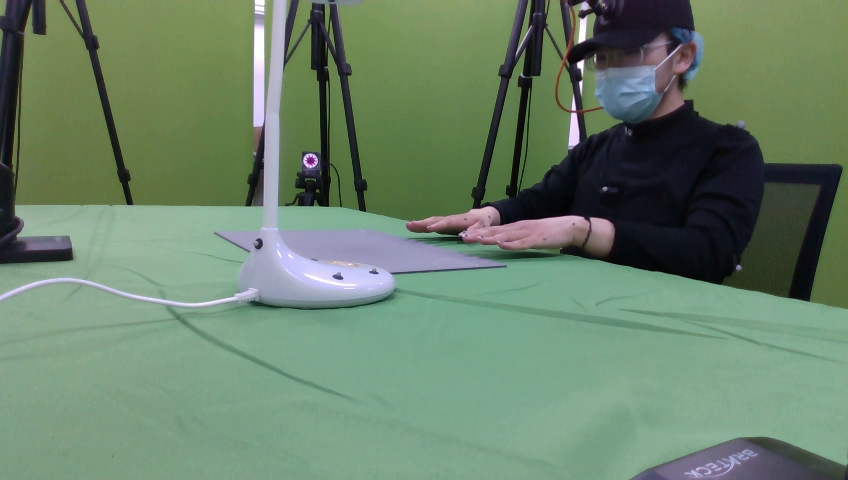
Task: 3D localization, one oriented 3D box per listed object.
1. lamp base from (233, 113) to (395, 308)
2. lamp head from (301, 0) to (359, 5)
[{"bbox_3d":[-0.113,-0.033,0.600,0.160,0.180,0.180,6,11,28],"label":"lamp base"},{"bbox_3d":[-0.096,-0.314,0.610,0.112,0.123,0.112,-4,50,5],"label":"lamp head"}]
